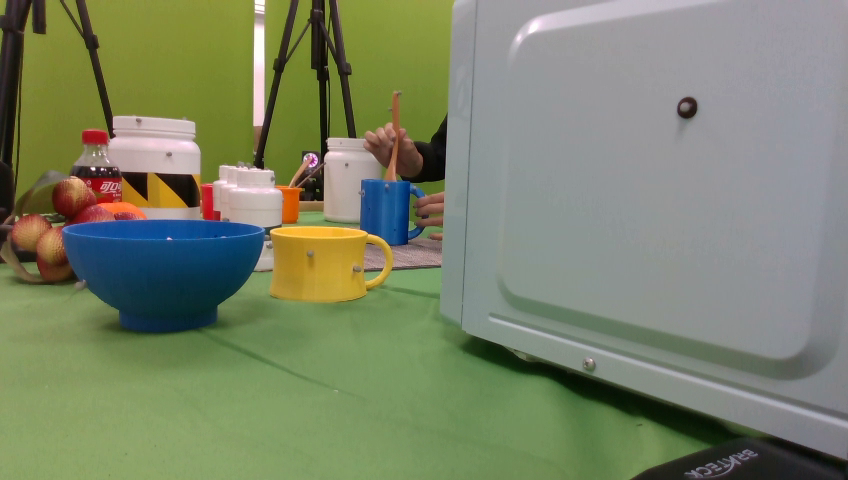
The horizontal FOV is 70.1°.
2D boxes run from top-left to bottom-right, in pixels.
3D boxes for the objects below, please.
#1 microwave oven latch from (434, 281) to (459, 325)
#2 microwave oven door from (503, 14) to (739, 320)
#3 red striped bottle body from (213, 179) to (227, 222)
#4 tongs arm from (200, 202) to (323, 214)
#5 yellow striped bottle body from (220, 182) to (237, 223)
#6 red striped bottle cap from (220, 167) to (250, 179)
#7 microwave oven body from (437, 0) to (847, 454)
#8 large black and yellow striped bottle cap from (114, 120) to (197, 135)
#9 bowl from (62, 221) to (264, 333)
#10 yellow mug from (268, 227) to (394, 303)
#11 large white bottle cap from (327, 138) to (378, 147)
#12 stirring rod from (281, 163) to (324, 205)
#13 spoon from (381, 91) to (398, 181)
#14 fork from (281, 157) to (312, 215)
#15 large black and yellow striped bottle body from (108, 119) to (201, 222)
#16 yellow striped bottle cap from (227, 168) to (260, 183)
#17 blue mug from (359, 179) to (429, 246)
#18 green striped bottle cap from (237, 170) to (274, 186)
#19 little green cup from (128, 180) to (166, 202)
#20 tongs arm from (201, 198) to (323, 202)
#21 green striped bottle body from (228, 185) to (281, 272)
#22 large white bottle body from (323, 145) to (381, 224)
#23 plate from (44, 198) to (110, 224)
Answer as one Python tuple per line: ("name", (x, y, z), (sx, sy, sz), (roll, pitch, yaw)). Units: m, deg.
("microwave oven latch", (0.044, 0.045, 0.470), (0.079, 0.029, 0.030), (-2, 8, -39))
("microwave oven door", (0.218, -0.065, 0.600), (0.358, 0.243, 0.039), (-4, 10, -41))
("red striped bottle body", (-0.284, -0.048, 0.909), (0.063, 0.119, 0.063), (3, 10, 0))
("tongs arm", (-0.378, -0.079, 1.440), (0.387, 0.026, 0.050), (-4, 8, -44))
("yellow striped bottle body", (-0.246, -0.036, 0.825), (0.063, 0.120, 0.063), (3, 8, 0))
("red striped bottle cap", (-0.281, -0.100, 0.901), (0.044, 0.017, 0.044), (0, 5, 0))
("microwave oven body", (0.279, -0.040, 0.464), (0.444, 0.260, 0.324), (-3, 9, -41))
("large black and yellow striped bottle cap", (-0.407, -0.171, 0.920), (0.115, 0.019, 0.115), (2, 9, 0))
("bowl", (-0.209, 0.029, 0.496), (0.151, 0.077, 0.151), (2, 7, 0))
("yellow mug", (-0.094, 0.023, 0.629), (0.131, 0.064, 0.099), (0, 6, -22))
("large white bottle cap", (-0.160, -0.218, 1.357), (0.115, 0.018, 0.115), (2, 8, 0))
("stirring rod", (-0.278, -0.105, 1.293), (0.176, 0.006, 0.014), (-47, 24, -18))
("spoon", (-0.053, -0.150, 1.000), (0.022, 0.193, 0.041), (8, -5, -43))
("fork", (-0.290, -0.116, 1.321), (0.028, 0.019, 0.207), (7, 52, 18))
("large black and yellow striped bottle body", (-0.412, -0.088, 0.930), (0.131, 0.184, 0.130), (3, 7, 0))
("yellow striped bottle cap", (-0.243, -0.087, 0.818), (0.044, 0.018, 0.044), (3, 6, 0))
("blue mug", (-0.050, -0.047, 1.009), (0.116, 0.106, 0.082), (3, 8, 3))
("green striped bottle cap", (-0.205, -0.075, 0.737), (0.044, 0.020, 0.044), (1, 6, 0))
("little green cup", (-0.485, -0.087, 1.062), (0.061, 0.038, 0.061), (-1, 6, 0))
("tongs arm", (-0.432, -0.090, 1.507), (0.390, 0.028, 0.028), (-1, 2, -30))
("green striped bottle body", (-0.208, -0.023, 0.745), (0.063, 0.119, 0.063), (2, 7, 0))
("large white bottle body", (-0.163, -0.134, 1.369), (0.131, 0.184, 0.130), (2, 8, 0))
("plate", (-0.617, -0.056, 1.179), (0.209, 0.038, 0.209), (3, 7, 0))
